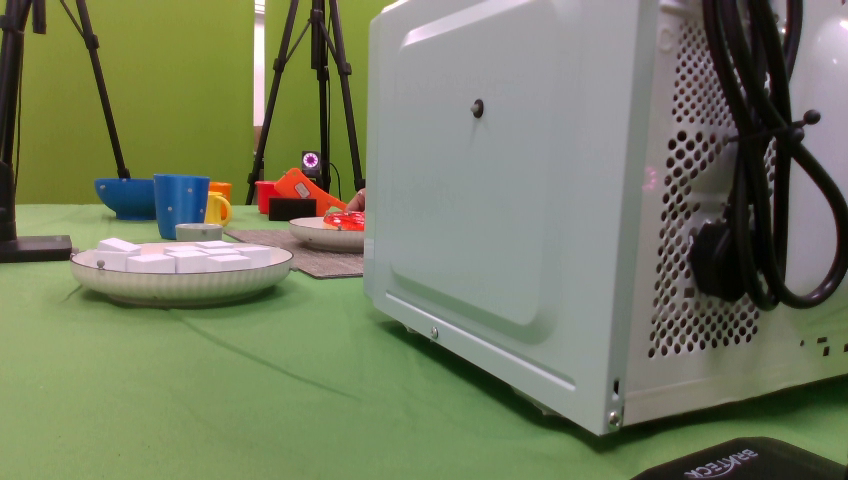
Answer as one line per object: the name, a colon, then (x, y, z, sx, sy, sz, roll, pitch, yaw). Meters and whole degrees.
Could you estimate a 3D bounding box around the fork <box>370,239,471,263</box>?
fork: (0.000, 0.012, 0.889, 0.208, 0.028, 0.018, -7, -21, -43)

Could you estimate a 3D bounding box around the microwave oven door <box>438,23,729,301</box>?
microwave oven door: (0.181, -0.072, 0.620, 0.358, 0.243, 0.039, -2, 8, -29)

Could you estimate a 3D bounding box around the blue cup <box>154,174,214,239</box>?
blue cup: (-0.390, -0.053, 0.978, 0.093, 0.100, 0.092, 3, 6, 0)

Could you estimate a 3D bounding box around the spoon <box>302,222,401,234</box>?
spoon: (-0.128, -0.025, 1.104, 0.195, 0.021, 0.041, -4, -9, -31)

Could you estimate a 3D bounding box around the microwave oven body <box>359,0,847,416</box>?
microwave oven body: (0.211, -0.047, 0.474, 0.444, 0.260, 0.324, -1, 7, -28)

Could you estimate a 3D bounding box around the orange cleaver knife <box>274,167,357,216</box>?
orange cleaver knife: (-0.238, -0.091, 1.381, 0.212, 0.077, 0.012, 31, 0, -19)

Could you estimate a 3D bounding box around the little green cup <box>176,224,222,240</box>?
little green cup: (-0.312, -0.001, 0.842, 0.061, 0.038, 0.061, 2, 8, 0)

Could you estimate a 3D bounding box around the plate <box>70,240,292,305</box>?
plate: (-0.242, 0.031, 0.618, 0.208, 0.039, 0.207, 2, 8, 0)

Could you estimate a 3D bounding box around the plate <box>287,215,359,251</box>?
plate: (-0.112, -0.012, 0.960, 0.209, 0.038, 0.209, 3, 8, 0)

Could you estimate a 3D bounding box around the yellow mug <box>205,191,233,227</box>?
yellow mug: (-0.415, -0.057, 1.132, 0.130, 0.064, 0.100, 6, 8, 16)

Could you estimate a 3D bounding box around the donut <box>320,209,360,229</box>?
donut: (-0.115, -0.023, 0.961, 0.099, 0.048, 0.099, 5, 9, 0)

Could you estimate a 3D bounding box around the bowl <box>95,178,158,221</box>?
bowl: (-0.576, -0.081, 1.217, 0.151, 0.077, 0.151, 3, 8, 0)

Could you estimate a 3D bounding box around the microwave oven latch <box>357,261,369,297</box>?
microwave oven latch: (-0.019, 0.033, 0.531, 0.079, 0.029, 0.030, -1, 7, -27)
